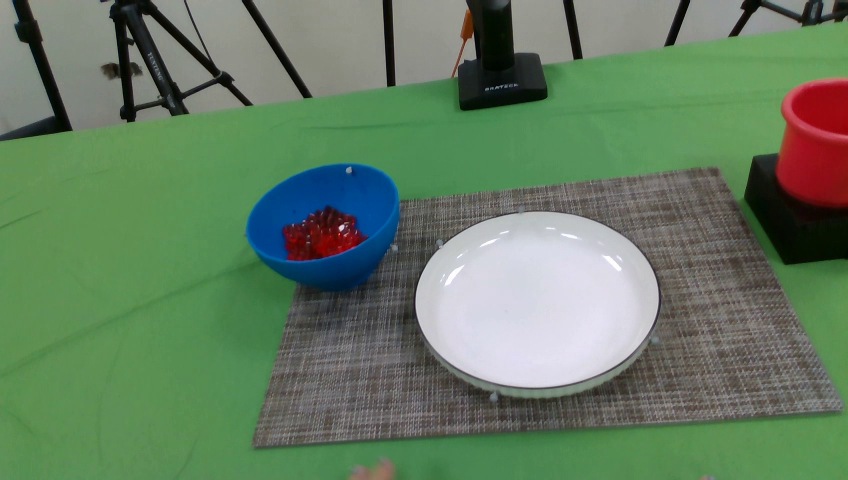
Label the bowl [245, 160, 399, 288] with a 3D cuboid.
[{"bbox_3d":[-0.093,-0.005,0.607,0.151,0.077,0.150,-7,42,7],"label":"bowl"}]

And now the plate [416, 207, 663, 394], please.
[{"bbox_3d":[0.098,0.050,0.532,0.207,0.039,0.205,-7,42,7],"label":"plate"}]

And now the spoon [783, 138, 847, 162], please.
[{"bbox_3d":[0.355,-0.085,0.466,0.041,0.021,0.193,-21,-2,-9],"label":"spoon"}]
